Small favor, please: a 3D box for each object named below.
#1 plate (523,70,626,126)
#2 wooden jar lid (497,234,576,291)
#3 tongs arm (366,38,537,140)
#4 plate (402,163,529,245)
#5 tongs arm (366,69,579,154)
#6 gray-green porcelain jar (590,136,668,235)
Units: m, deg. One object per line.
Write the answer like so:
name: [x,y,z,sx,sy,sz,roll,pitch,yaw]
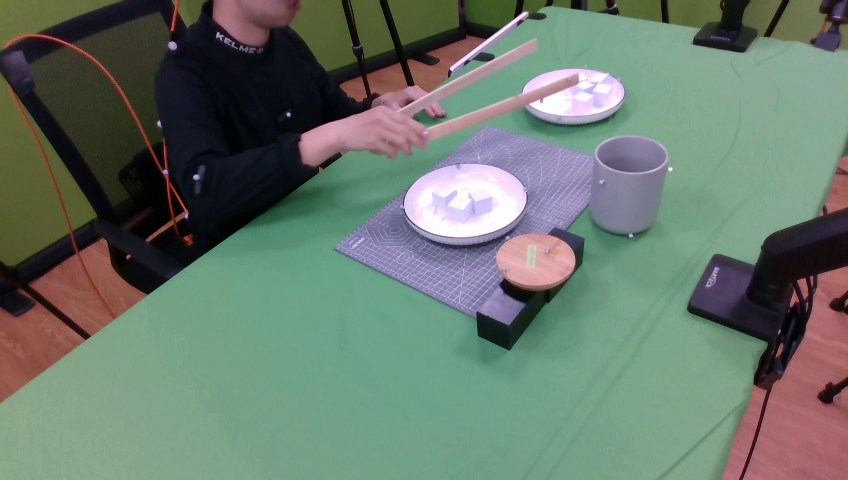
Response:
plate: [0.308,-0.290,1.251,0.207,0.039,0.206,-4,40,4]
wooden jar lid: [0.154,0.032,0.834,0.108,0.021,0.108,-5,40,5]
tongs arm: [0.055,-0.275,1.099,0.388,0.028,0.028,-32,55,-15]
plate: [0.069,-0.056,1.008,0.209,0.038,0.208,-4,40,4]
tongs arm: [0.087,-0.227,1.050,0.385,0.027,0.050,-23,50,-7]
gray-green porcelain jar: [0.314,-0.080,0.937,0.106,0.127,0.105,-4,41,4]
